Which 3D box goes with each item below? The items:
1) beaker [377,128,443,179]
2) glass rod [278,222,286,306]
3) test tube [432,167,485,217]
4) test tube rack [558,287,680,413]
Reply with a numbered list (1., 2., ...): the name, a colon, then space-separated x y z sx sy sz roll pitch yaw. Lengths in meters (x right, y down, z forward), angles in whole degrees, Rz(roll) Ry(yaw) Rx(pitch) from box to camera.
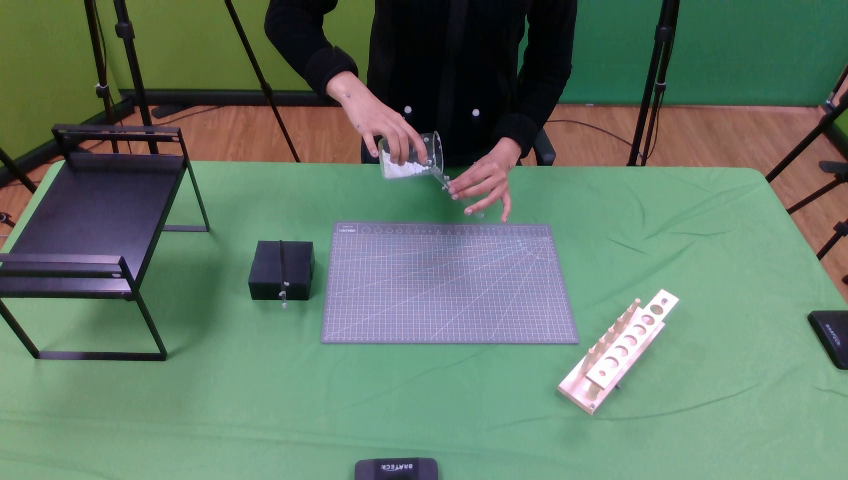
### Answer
1. beaker: -0.025 -0.141 1.013 0.100 0.084 0.073 -8 48 -8
2. glass rod: -0.255 0.039 1.081 0.008 0.008 0.198 -6 47 -10
3. test tube: 0.065 -0.085 1.094 0.017 0.151 0.017 -25 45 29
4. test tube rack: 0.326 0.170 1.009 0.066 0.085 0.242 36 54 26
